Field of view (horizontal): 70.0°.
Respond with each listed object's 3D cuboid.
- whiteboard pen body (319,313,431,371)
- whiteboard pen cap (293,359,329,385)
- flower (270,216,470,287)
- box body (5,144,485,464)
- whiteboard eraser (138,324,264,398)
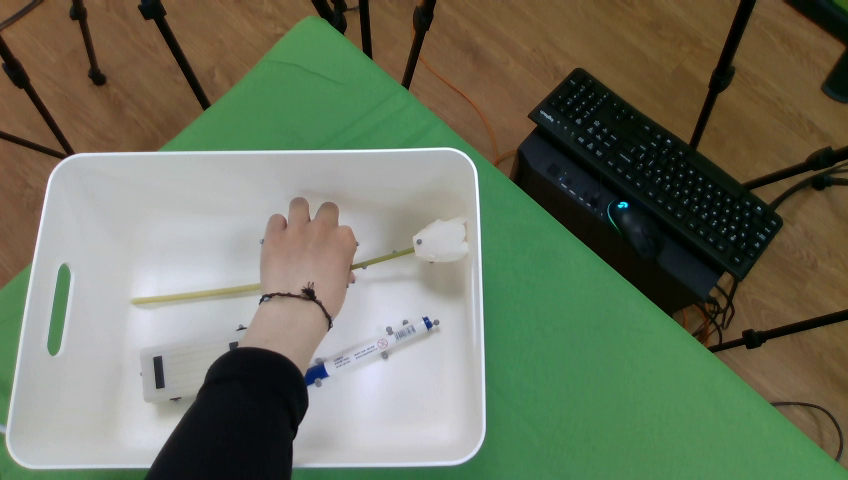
[{"bbox_3d":[-0.059,0.107,0.606,0.141,0.017,0.017,-24,75,-4],"label":"whiteboard pen body"},{"bbox_3d":[-0.112,0.130,0.602,0.033,0.018,0.018,-23,75,-6],"label":"whiteboard pen cap"},{"bbox_3d":[-0.121,0.039,0.628,0.361,0.038,0.043,-15,69,15],"label":"flower"},{"bbox_3d":[-0.133,0.065,0.553,0.364,0.161,0.252,-1,74,1],"label":"box body"},{"bbox_3d":[-0.217,0.118,0.593,0.113,0.042,0.055,-9,75,-4],"label":"whiteboard eraser"}]
